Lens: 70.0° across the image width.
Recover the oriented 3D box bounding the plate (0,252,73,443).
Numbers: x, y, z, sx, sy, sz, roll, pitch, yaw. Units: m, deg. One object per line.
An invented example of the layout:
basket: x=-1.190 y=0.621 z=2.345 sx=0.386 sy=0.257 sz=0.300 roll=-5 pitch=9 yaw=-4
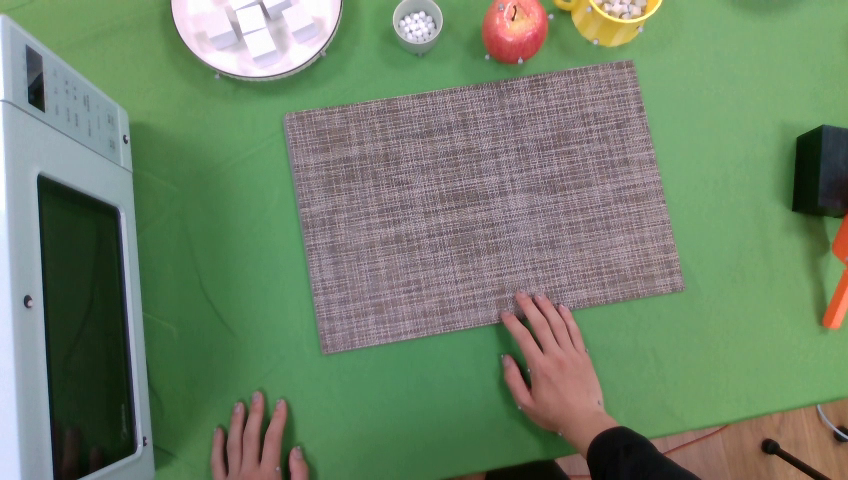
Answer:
plate: x=-0.469 y=0.112 z=0.628 sx=0.209 sy=0.038 sz=0.208 roll=0 pitch=84 yaw=-3

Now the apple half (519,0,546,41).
apple half: x=0.128 y=-0.283 z=0.745 sx=0.033 sy=0.081 sz=0.081 roll=-37 pitch=86 yaw=-1

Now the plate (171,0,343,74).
plate: x=-0.203 y=-0.302 z=0.751 sx=0.208 sy=0.039 sz=0.207 roll=0 pitch=83 yaw=-2

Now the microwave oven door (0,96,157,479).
microwave oven door: x=-0.335 y=0.073 z=0.581 sx=0.039 sy=0.244 sz=0.354 roll=-7 pitch=83 yaw=-3

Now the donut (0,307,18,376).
donut: x=-0.467 y=0.107 z=0.615 sx=0.099 sy=0.048 sz=0.099 roll=0 pitch=85 yaw=-2

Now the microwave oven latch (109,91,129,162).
microwave oven latch: x=-0.364 y=-0.131 z=0.705 sx=0.030 sy=0.029 sz=0.079 roll=-5 pitch=84 yaw=-3

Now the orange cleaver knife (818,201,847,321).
orange cleaver knife: x=0.512 y=-0.004 z=0.723 sx=0.012 sy=0.076 sz=0.212 roll=9 pitch=115 yaw=1

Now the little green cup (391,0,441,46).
little green cup: x=-0.010 y=-0.275 z=0.756 sx=0.061 sy=0.039 sz=0.061 roll=0 pitch=83 yaw=-2

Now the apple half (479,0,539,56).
apple half: x=0.097 y=-0.259 z=0.742 sx=0.053 sy=0.074 sz=0.081 roll=-36 pitch=90 yaw=-2

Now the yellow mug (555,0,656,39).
yellow mug: x=0.222 y=-0.313 z=0.756 sx=0.131 sy=0.064 sz=0.099 roll=1 pitch=83 yaw=-1

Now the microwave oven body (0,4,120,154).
microwave oven body: x=-0.485 y=0.049 z=0.583 sx=0.326 sy=0.260 sz=0.440 roll=-7 pitch=84 yaw=-4
